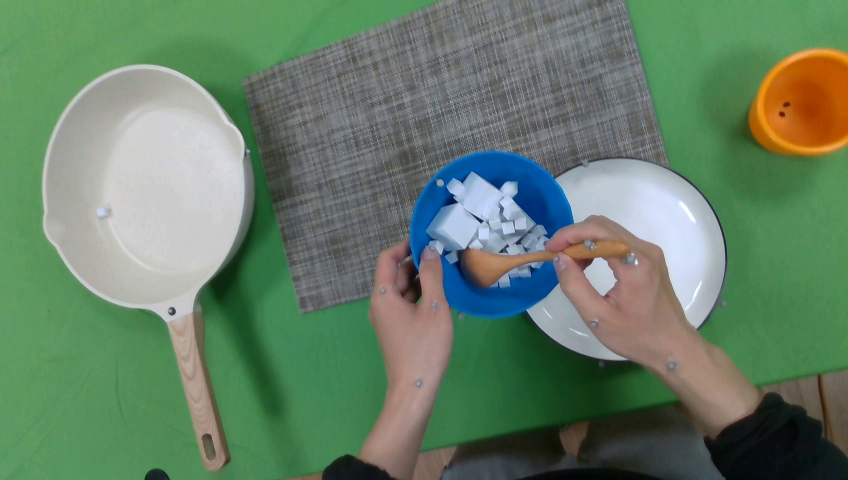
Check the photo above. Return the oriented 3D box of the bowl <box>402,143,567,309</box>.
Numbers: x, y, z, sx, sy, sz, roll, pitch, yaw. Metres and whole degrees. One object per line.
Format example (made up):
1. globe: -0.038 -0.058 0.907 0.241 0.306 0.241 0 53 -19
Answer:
1. bowl: 0.052 -0.017 0.576 0.151 0.076 0.152 -1 101 -6

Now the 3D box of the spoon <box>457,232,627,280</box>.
1. spoon: 0.087 0.008 0.500 0.193 0.021 0.042 -13 101 52

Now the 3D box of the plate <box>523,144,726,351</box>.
1. plate: 0.193 0.008 0.621 0.207 0.039 0.208 1 96 15

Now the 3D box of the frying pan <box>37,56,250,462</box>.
1. frying pan: -0.310 0.025 0.733 0.306 0.103 0.485 -20 79 17
